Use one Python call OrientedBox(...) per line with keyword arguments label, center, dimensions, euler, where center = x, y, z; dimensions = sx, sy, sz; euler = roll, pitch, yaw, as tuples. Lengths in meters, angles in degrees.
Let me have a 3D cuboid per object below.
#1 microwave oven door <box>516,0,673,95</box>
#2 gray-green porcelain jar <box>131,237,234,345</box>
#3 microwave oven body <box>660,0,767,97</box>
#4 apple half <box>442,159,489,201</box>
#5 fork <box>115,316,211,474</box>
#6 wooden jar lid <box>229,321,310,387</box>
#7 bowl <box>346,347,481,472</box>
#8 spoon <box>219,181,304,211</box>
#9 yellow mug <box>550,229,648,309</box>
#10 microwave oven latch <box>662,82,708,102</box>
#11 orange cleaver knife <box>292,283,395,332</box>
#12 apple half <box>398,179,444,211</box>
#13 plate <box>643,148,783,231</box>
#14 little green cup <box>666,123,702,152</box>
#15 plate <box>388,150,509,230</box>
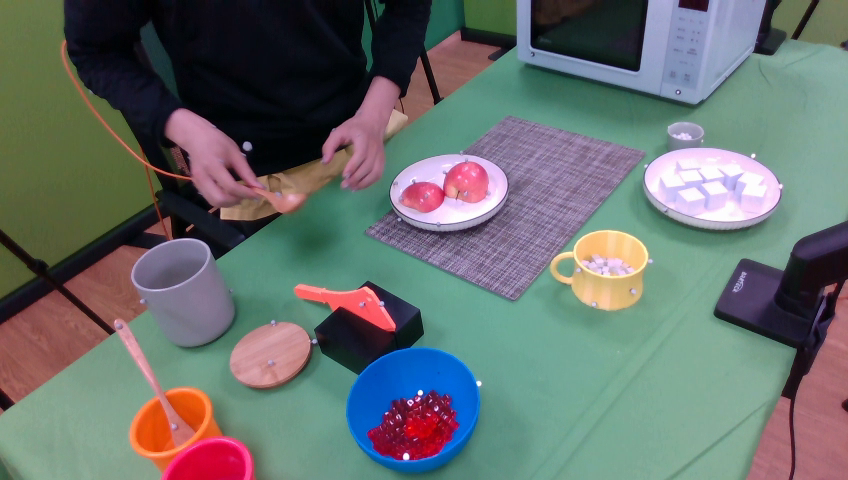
OrientedBox(label="microwave oven door", center=(0.344, -0.458, 1.256), dimensions=(0.353, 0.245, 0.039), euler=(26, 51, 33))
OrientedBox(label="gray-green porcelain jar", center=(-0.332, 0.076, 0.849), dimensions=(0.106, 0.127, 0.105), euler=(-4, 41, 4))
OrientedBox(label="microwave oven body", center=(0.473, -0.517, 1.313), dimensions=(0.438, 0.261, 0.327), euler=(26, 51, 34))
OrientedBox(label="apple half", center=(0.074, -0.110, 1.047), dimensions=(0.080, 0.053, 0.075), euler=(21, 45, 30))
OrientedBox(label="fork", center=(-0.308, 0.179, 0.708), dimensions=(0.028, 0.018, 0.207), euler=(-30, 89, -22))
OrientedBox(label="wooden jar lid", center=(-0.207, 0.156, 0.820), dimensions=(0.108, 0.021, 0.108), euler=(-3, 39, 3))
OrientedBox(label="bowl", center=(-0.008, 0.205, 0.691), dimensions=(0.151, 0.077, 0.150), euler=(-4, 40, 4))
OrientedBox(label="spoon", center=(-0.238, -0.070, 0.868), dimensions=(0.192, 0.022, 0.042), euler=(18, 52, 36))
OrientedBox(label="yellow mug", center=(0.245, 0.040, 0.857), dimensions=(0.130, 0.064, 0.099), euler=(1, 42, 11))
OrientedBox(label="microwave oven latch", center=(0.517, -0.298, 1.203), dimensions=(0.078, 0.029, 0.030), euler=(28, 52, 35))
OrientedBox(label="orange cleaver knife", center=(-0.115, 0.092, 0.835), dimensions=(0.209, 0.077, 0.012), euler=(1, 32, 48))
OrientedBox(label="apple half", center=(-0.004, -0.088, 1.045), dimensions=(0.081, 0.033, 0.081), euler=(-1, 43, 2))
OrientedBox(label="plate", center=(0.464, -0.079, 0.986), dimensions=(0.207, 0.039, 0.206), euler=(-4, 40, 4))
OrientedBox(label="little green cup", center=(0.472, -0.183, 1.102), dimensions=(0.061, 0.039, 0.061), euler=(-5, 41, 5))
OrientedBox(label="plate", center=(0.044, -0.083, 1.042), dimensions=(0.209, 0.038, 0.208), euler=(-4, 40, 4))
